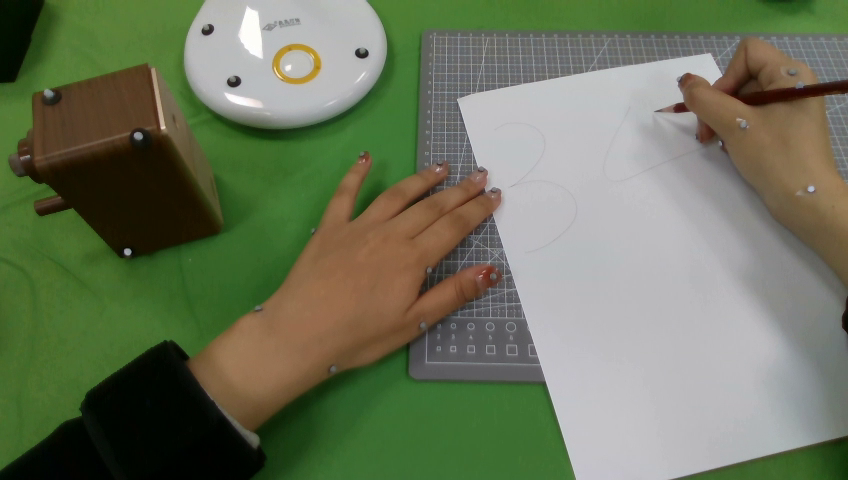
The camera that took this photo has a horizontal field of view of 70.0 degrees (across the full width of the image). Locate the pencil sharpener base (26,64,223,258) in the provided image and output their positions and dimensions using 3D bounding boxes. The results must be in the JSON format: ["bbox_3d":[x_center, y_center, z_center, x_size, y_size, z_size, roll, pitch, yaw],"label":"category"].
[{"bbox_3d":[-0.182,-0.044,0.379,0.077,0.108,0.061,-17,62,-8],"label":"pencil sharpener base"}]

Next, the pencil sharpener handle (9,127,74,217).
[{"bbox_3d":[-0.230,-0.036,0.360,0.031,0.068,0.035,-17,64,-8],"label":"pencil sharpener handle"}]

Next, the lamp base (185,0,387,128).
[{"bbox_3d":[-0.118,-0.201,0.425,0.161,0.182,0.177,-27,61,-14],"label":"lamp base"}]

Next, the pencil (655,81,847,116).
[{"bbox_3d":[0.224,-0.089,0.377,0.012,0.192,0.012,-42,113,-21],"label":"pencil"}]
